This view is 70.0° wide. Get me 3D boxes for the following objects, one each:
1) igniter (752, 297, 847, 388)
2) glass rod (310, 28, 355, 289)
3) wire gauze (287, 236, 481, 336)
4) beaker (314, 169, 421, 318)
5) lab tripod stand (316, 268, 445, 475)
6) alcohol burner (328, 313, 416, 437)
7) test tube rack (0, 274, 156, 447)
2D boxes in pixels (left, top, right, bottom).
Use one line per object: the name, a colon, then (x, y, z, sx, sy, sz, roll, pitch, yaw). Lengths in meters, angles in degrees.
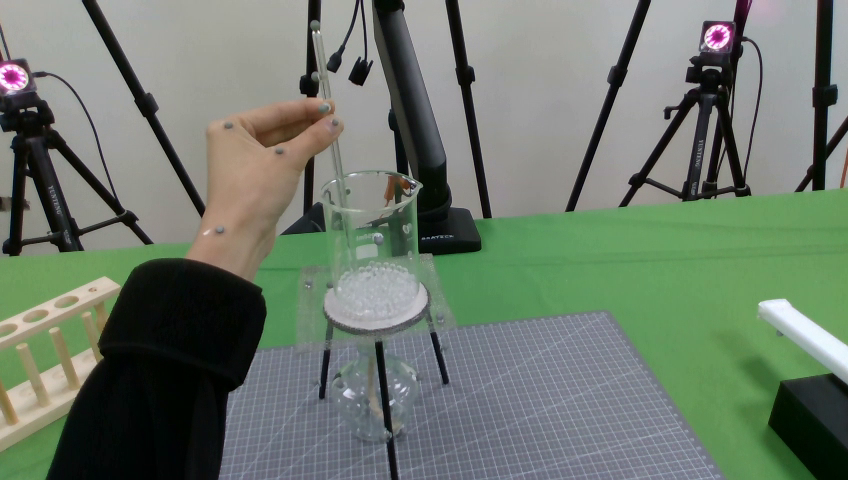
igniter: (0.365, 0.122, 0.488, 0.057, 0.025, 0.274, -7, 25, -7)
glass rod: (-0.066, -0.050, 0.443, 0.008, 0.201, 0.008, -3, 28, 2)
wire gauze: (-0.036, 0.034, 0.485, 0.125, 0.011, 0.120, -12, 28, -27)
beaker: (-0.040, 0.003, 0.474, 0.084, 0.101, 0.073, -16, 33, -25)
lab tripod stand: (-0.037, 0.104, 0.527, 0.148, 0.132, 0.147, 0, 30, 0)
alcohol burner: (-0.046, 0.114, 0.531, 0.078, 0.120, 0.077, 0, 28, 0)
test tube rack: (-0.388, 0.128, 0.562, 0.066, 0.086, 0.242, 19, 35, 34)
